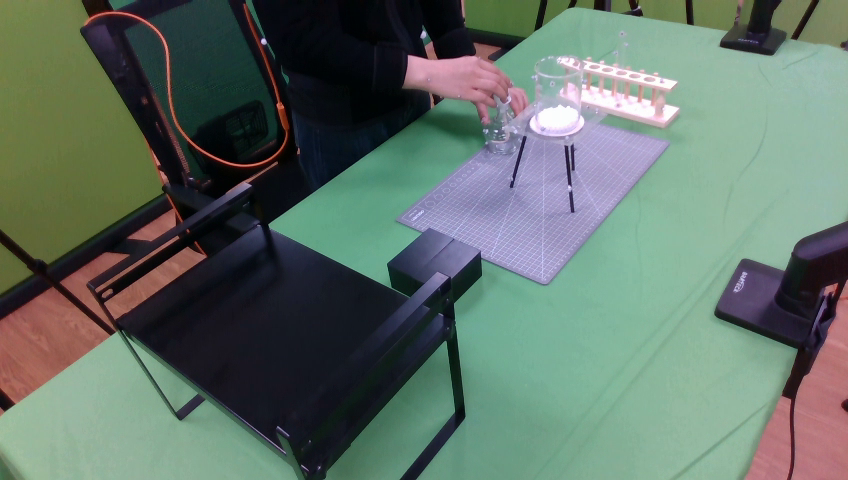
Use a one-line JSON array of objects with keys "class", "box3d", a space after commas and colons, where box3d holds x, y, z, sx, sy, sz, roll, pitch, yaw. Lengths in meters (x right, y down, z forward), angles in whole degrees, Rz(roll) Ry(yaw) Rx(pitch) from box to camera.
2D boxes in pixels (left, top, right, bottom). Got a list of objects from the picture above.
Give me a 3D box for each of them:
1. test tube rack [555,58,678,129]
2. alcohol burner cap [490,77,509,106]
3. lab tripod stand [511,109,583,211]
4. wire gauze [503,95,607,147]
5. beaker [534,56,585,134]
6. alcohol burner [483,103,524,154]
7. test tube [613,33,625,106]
[{"class": "test tube rack", "box3d": [0.390, -0.307, 1.229, 0.240, 0.085, 0.067, 25, 50, 33]}, {"class": "alcohol burner cap", "box3d": [0.135, -0.270, 1.095, 0.034, 0.048, 0.033, -11, 25, 5]}, {"class": "lab tripod stand", "box3d": [0.220, -0.138, 1.014, 0.148, 0.132, 0.147, -3, 41, 3]}, {"class": "wire gauze", "box3d": [0.212, -0.191, 0.976, 0.120, 0.011, 0.125, 24, 52, 32]}, {"class": "beaker", "box3d": [0.209, -0.226, 0.942, 0.074, 0.101, 0.083, -2, 41, 7]}, {"class": "alcohol burner", "box3d": [0.149, -0.223, 1.141, 0.078, 0.119, 0.077, -5, 42, 5]}, {"class": "test tube", "box3d": [0.380, -0.330, 1.180, 0.017, 0.151, 0.017, -7, 41, 6]}]
